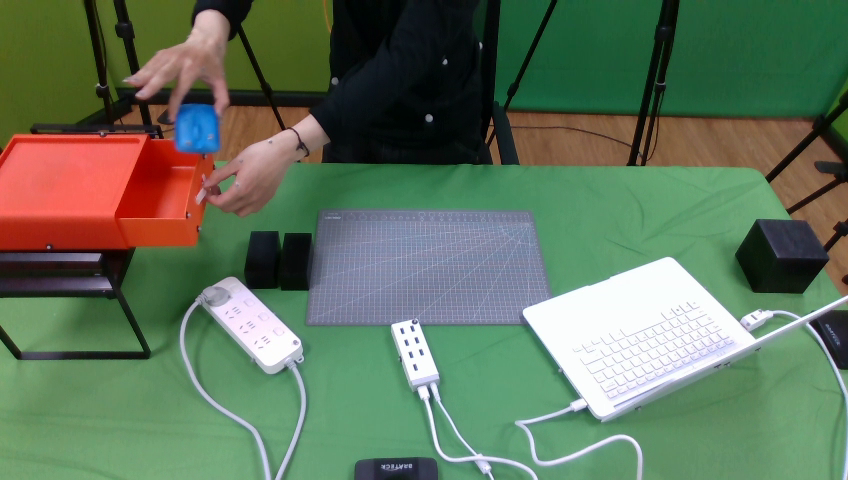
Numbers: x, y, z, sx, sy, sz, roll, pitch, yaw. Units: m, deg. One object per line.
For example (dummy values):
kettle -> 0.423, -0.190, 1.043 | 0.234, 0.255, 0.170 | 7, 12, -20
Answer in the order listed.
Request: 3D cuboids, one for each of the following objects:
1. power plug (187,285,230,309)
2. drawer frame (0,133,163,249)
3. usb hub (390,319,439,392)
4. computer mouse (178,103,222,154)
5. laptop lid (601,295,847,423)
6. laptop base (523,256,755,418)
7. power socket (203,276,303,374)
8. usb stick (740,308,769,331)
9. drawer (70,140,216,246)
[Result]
power plug -> -0.370, 0.103, 1.039 | 0.072, 0.053, 0.035 | -25, 53, -23
drawer frame -> -0.546, -0.078, 0.942 | 0.214, 0.083, 0.200 | -1, 47, -4
usb hub -> -0.016, 0.190, 1.013 | 0.049, 0.025, 0.124 | -10, 48, -15
computer mouse -> -0.348, -0.177, 0.943 | 0.063, 0.041, 0.116 | -1, 45, -19
laptop lid -> 0.449, 0.180, 0.905 | 0.357, 0.242, 0.013 | -17, 64, -20
laptop base -> 0.381, 0.159, 1.077 | 0.355, 0.023, 0.234 | -17, 47, -20
power socket -> -0.296, 0.141, 1.034 | 0.225, 0.033, 0.072 | 38, 55, 27
usb stick -> 0.587, 0.146, 1.088 | 0.059, 0.027, 0.021 | -21, 48, -17
drawer -> -0.451, -0.079, 0.953 | 0.212, 0.073, 0.193 | -2, 47, -5
